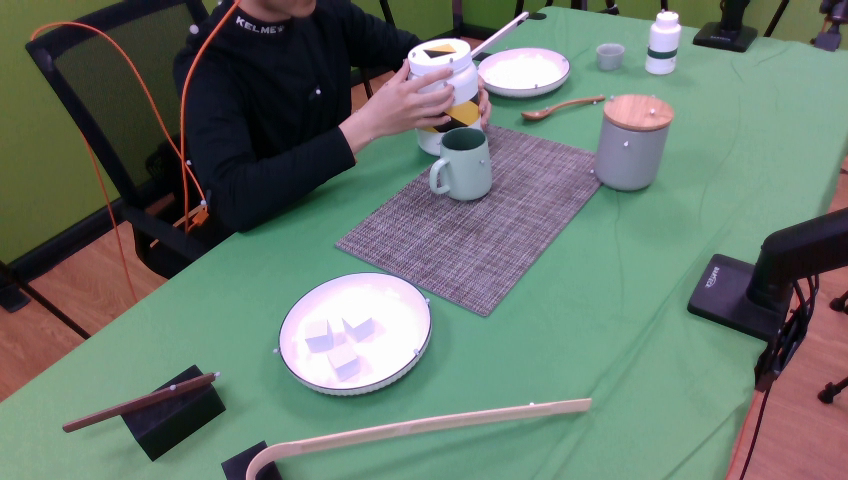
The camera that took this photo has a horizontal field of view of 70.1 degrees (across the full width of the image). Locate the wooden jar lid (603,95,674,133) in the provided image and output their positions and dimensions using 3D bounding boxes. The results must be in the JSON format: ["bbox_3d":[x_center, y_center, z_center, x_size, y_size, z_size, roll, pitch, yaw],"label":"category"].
[{"bbox_3d":[0.343,-0.200,0.974,0.108,0.021,0.108,-2,39,2],"label":"wooden jar lid"}]

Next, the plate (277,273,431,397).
[{"bbox_3d":[-0.091,0.129,0.821,0.207,0.039,0.206,-4,40,4],"label":"plate"}]

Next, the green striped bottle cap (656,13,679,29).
[{"bbox_3d":[0.515,-0.463,1.278,0.044,0.020,0.044,-5,41,5],"label":"green striped bottle cap"}]

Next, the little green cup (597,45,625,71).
[{"bbox_3d":[0.423,-0.413,1.375,0.061,0.039,0.061,-3,41,3],"label":"little green cup"}]

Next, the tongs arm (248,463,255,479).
[{"bbox_3d":[0.012,0.262,0.614,0.385,0.026,0.050,3,42,-2],"label":"tongs arm"}]

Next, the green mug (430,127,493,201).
[{"bbox_3d":[0.059,-0.122,1.034,0.126,0.105,0.091,-35,48,-28],"label":"green mug"}]

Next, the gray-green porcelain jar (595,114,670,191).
[{"bbox_3d":[0.346,-0.154,1.017,0.106,0.127,0.105,-2,44,2],"label":"gray-green porcelain jar"}]

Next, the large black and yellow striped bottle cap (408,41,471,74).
[{"bbox_3d":[0.028,-0.333,1.095,0.115,0.019,0.114,-5,38,5],"label":"large black and yellow striped bottle cap"}]

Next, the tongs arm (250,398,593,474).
[{"bbox_3d":[0.008,0.212,0.674,0.389,0.028,0.028,-5,46,-11],"label":"tongs arm"}]

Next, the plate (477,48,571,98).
[{"bbox_3d":[0.223,-0.371,1.357,0.209,0.038,0.208,-4,41,4],"label":"plate"}]

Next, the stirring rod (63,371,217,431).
[{"bbox_3d":[-0.337,0.192,0.723,0.177,0.014,0.005,-18,43,-12],"label":"stirring rod"}]

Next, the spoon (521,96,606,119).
[{"bbox_3d":[0.291,-0.277,1.249,0.194,0.022,0.041,-17,25,-11],"label":"spoon"}]

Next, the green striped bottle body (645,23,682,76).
[{"bbox_3d":[0.520,-0.424,1.312,0.063,0.120,0.063,-4,41,4],"label":"green striped bottle body"}]

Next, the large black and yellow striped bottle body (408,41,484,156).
[{"bbox_3d":[0.041,-0.268,1.147,0.131,0.185,0.130,-6,38,6],"label":"large black and yellow striped bottle body"}]
